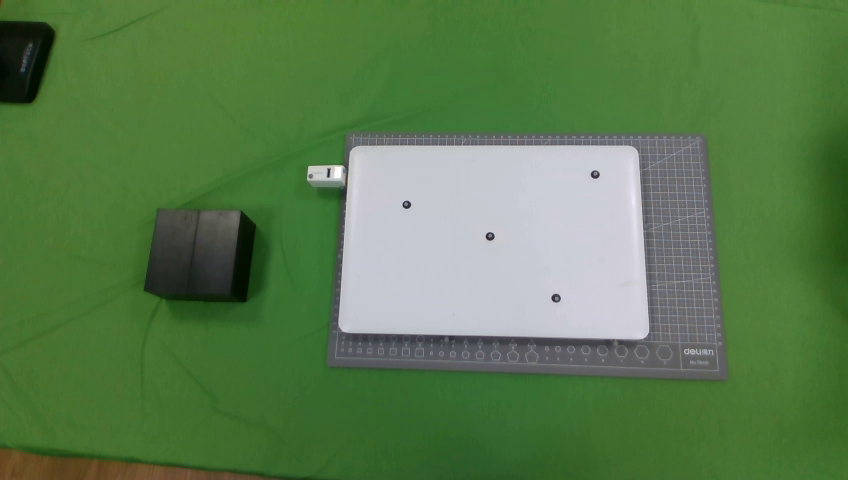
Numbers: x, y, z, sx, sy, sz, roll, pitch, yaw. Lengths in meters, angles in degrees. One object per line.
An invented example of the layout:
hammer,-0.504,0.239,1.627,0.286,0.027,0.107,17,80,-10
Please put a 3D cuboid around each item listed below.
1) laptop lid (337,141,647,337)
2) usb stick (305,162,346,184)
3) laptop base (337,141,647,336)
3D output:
laptop lid,0.077,-0.006,0.711,0.356,0.013,0.240,2,77,4
usb stick,-0.114,-0.082,0.745,0.059,0.027,0.021,1,75,5
laptop base,0.078,-0.005,0.723,0.354,0.023,0.234,0,77,3
